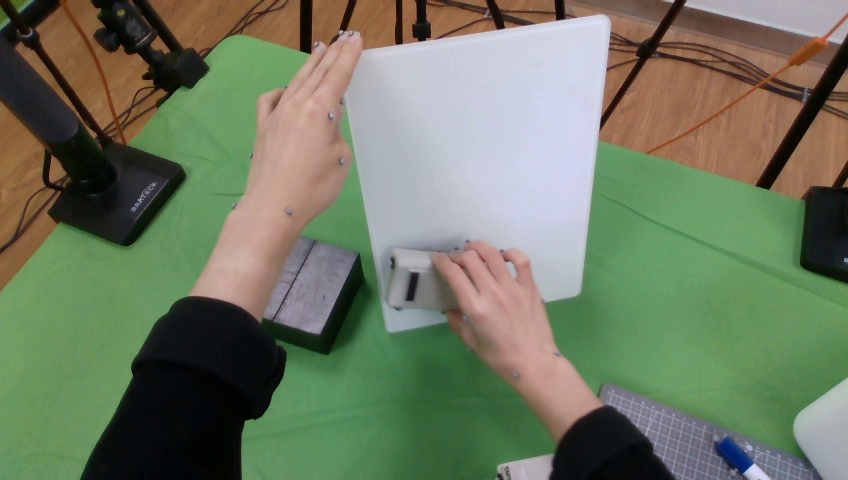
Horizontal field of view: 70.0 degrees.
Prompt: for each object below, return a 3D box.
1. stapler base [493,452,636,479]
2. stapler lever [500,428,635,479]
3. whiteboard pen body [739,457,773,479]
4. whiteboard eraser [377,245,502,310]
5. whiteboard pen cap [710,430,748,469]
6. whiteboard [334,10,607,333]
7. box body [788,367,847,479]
[{"bbox_3d":[0.130,0.206,0.555,0.130,0.024,0.041,-12,54,-3],"label":"stapler base"},{"bbox_3d":[0.127,0.193,0.535,0.118,0.040,0.026,-11,54,-3],"label":"stapler lever"},{"bbox_3d":[0.320,0.233,0.537,0.017,0.017,0.139,-32,62,-18],"label":"whiteboard pen body"},{"bbox_3d":[0.014,0.035,0.578,0.113,0.056,0.041,5,29,-17],"label":"whiteboard eraser"},{"bbox_3d":[0.285,0.196,0.564,0.018,0.018,0.033,-32,63,-18],"label":"whiteboard pen cap"},{"bbox_3d":[0.038,-0.081,0.606,0.217,0.308,0.142,-10,39,-5],"label":"whiteboard"},{"bbox_3d":[0.515,0.223,0.464,0.254,0.162,0.360,-21,60,-13],"label":"box body"}]
